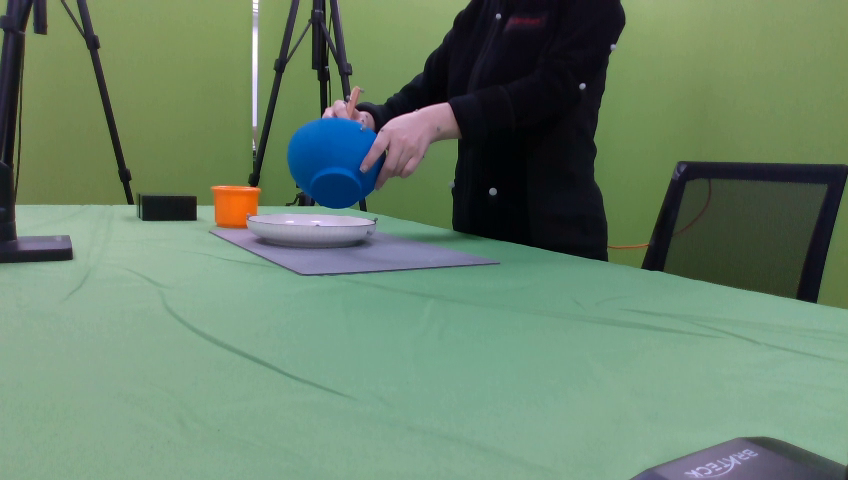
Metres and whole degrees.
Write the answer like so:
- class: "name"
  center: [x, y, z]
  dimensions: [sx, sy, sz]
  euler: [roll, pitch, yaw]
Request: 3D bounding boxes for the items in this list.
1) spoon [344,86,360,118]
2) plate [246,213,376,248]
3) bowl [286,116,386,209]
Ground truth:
- class: "spoon"
  center: [-0.132, -0.174, 0.975]
  dimensions: [0.041, 0.193, 0.021]
  euler: [12, -30, 0]
- class: "plate"
  center: [-0.185, -0.017, 0.994]
  dimensions: [0.209, 0.038, 0.209]
  euler: [3, 8, 0]
- class: "bowl"
  center: [-0.130, -0.099, 0.893]
  dimensions: [0.152, 0.151, 0.076]
  euler: [1, 49, -7]
